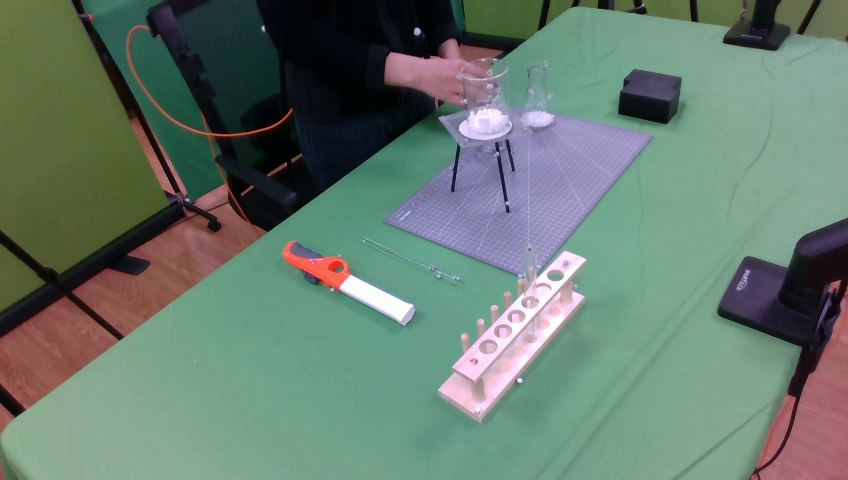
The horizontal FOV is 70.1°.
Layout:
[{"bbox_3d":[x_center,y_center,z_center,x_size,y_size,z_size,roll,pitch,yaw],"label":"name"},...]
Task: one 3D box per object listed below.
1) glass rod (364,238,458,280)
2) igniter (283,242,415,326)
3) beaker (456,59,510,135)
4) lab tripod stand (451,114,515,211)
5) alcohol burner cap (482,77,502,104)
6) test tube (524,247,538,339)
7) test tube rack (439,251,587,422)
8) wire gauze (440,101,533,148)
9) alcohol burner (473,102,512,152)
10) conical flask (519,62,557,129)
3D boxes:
[{"bbox_3d":[-0.026,0.029,0.966,0.198,0.008,0.008,22,49,35],"label":"glass rod"},{"bbox_3d":[-0.126,0.062,0.931,0.274,0.025,0.057,24,61,33],"label":"igniter"},{"bbox_3d":[0.098,-0.226,0.964,0.084,0.101,0.073,-7,39,4],"label":"beaker"},{"bbox_3d":[0.113,-0.140,1.037,0.148,0.132,0.147,-6,38,5],"label":"lab tripod stand"},{"bbox_3d":[0.123,-0.276,1.108,0.034,0.048,0.033,-9,48,11],"label":"alcohol burner cap"},{"bbox_3d":[0.133,0.070,0.749,0.017,0.151,0.017,-5,38,4],"label":"test tube"},{"bbox_3d":[0.118,0.111,0.780,0.066,0.085,0.243,26,51,35],"label":"test tube rack"},{"bbox_3d":[0.100,-0.189,0.995,0.125,0.011,0.120,-16,37,-6],"label":"wire gauze"},{"bbox_3d":[0.132,-0.229,1.154,0.078,0.119,0.077,-5,38,4],"label":"alcohol burner"},{"bbox_3d":[0.225,-0.288,1.198,0.075,0.122,0.075,-6,40,5],"label":"conical flask"}]
